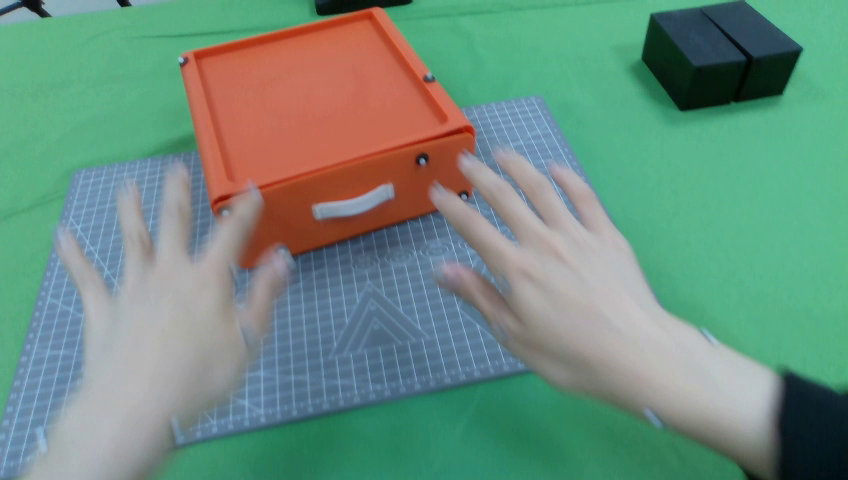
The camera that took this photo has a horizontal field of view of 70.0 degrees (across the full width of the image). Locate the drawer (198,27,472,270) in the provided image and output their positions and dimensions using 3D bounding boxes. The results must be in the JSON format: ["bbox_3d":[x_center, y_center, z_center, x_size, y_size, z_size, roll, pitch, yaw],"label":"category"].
[{"bbox_3d":[-0.088,-0.092,0.522,0.195,0.074,0.209,-19,48,-12],"label":"drawer"}]

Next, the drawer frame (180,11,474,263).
[{"bbox_3d":[-0.090,-0.099,0.526,0.202,0.083,0.211,-19,48,-13],"label":"drawer frame"}]

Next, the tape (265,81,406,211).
[{"bbox_3d":[-0.075,-0.082,0.517,0.117,0.053,0.115,-2,50,2],"label":"tape"}]
